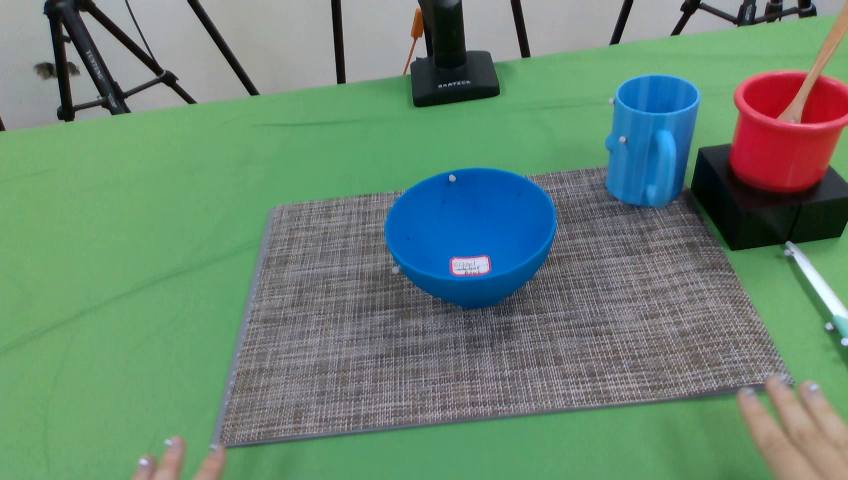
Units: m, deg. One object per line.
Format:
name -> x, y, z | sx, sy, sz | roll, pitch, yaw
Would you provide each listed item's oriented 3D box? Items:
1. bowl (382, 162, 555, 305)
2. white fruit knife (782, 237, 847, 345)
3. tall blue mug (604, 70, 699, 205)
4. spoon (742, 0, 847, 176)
bowl -> 0.042, 0.006, 0.549 | 0.151, 0.077, 0.150 | -5, 43, 5
white fruit knife -> 0.338, 0.066, 0.485 | 0.027, 0.016, 0.205 | 14, 38, -15
tall blue mug -> 0.231, -0.094, 0.598 | 0.078, 0.109, 0.106 | -21, 44, -13
spoon -> 0.343, -0.145, 0.538 | 0.041, 0.022, 0.194 | 32, 101, 38
